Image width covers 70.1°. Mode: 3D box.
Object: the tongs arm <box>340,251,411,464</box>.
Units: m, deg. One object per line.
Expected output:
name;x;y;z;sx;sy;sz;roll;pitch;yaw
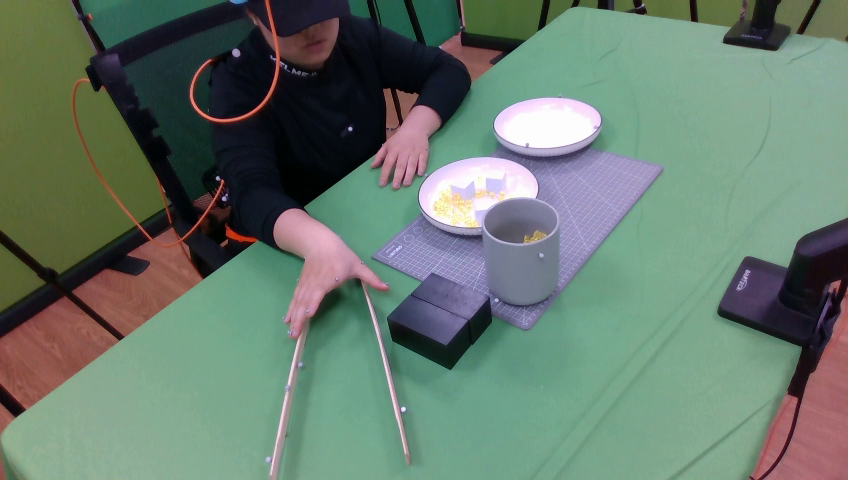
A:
tongs arm;-0.070;0.136;0.830;0.028;0.028;0.384;-18;40;-5

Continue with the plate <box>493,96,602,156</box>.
plate;0.239;-0.218;1.179;0.209;0.038;0.208;-5;39;4

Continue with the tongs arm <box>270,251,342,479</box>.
tongs arm;-0.152;0.148;0.826;0.051;0.026;0.382;-7;38;3

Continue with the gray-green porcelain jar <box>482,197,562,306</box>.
gray-green porcelain jar;0.138;0.020;0.846;0.106;0.127;0.105;-5;40;5

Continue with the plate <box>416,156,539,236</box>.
plate;0.091;-0.072;1.034;0.207;0.039;0.206;-5;40;5
